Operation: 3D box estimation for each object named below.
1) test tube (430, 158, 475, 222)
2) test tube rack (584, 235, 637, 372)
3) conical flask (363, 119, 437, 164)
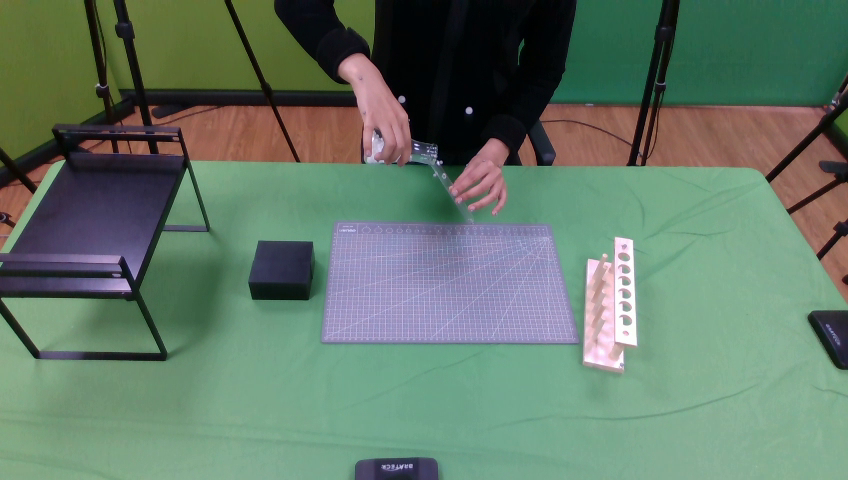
[{"bbox_3d":[0.053,-0.088,1.097,0.017,0.151,0.017,-24,35,18],"label":"test tube"},{"bbox_3d":[0.329,0.103,1.073,0.067,0.085,0.241,11,47,7],"label":"test tube rack"},{"bbox_3d":[-0.040,-0.159,1.035,0.122,0.075,0.075,9,45,-11],"label":"conical flask"}]
